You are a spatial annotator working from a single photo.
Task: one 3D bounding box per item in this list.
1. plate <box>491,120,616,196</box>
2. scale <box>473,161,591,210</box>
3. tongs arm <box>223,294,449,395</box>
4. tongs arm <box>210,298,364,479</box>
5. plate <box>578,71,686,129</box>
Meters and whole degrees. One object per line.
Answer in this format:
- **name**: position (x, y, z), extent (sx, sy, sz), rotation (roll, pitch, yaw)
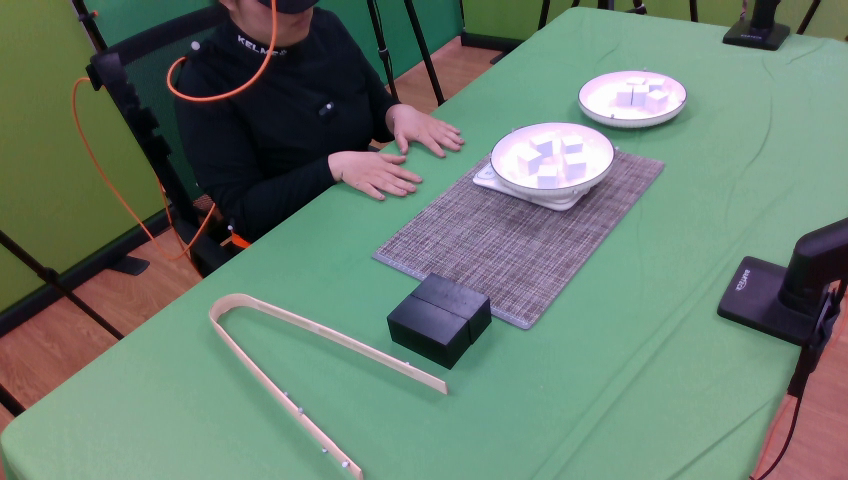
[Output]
- **plate**: position (0.220, -0.137, 1.038), extent (0.207, 0.039, 0.206), rotation (-6, 41, 5)
- **scale**: position (0.202, -0.121, 1.074), extent (0.199, 0.032, 0.149), rotation (23, 49, 33)
- **tongs arm**: position (-0.134, 0.139, 0.840), extent (0.385, 0.028, 0.028), rotation (17, 48, 28)
- **tongs arm**: position (-0.186, 0.180, 0.794), extent (0.381, 0.026, 0.051), rotation (28, 51, 37)
- **plate**: position (0.416, -0.280, 1.222), extent (0.209, 0.038, 0.208), rotation (-5, 41, 5)
